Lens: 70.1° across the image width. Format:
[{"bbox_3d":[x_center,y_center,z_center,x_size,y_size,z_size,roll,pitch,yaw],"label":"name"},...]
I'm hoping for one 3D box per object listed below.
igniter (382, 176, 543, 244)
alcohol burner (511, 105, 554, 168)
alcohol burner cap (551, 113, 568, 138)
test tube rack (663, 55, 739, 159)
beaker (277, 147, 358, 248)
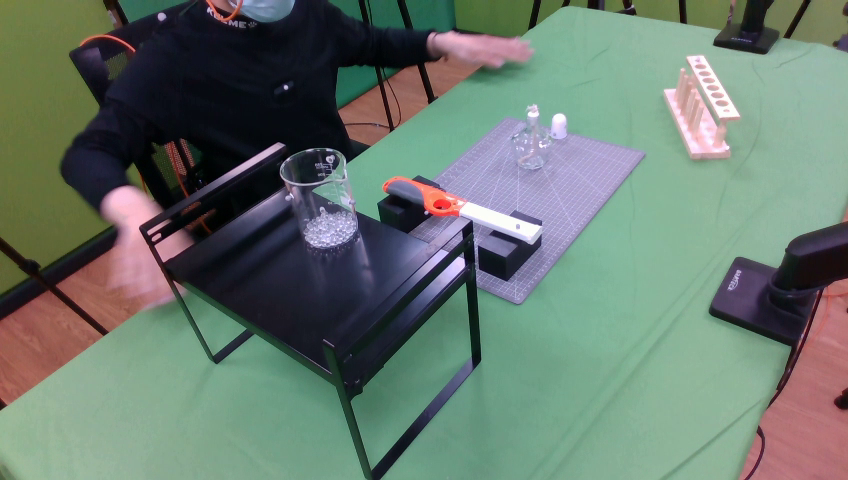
[{"bbox_3d":[0.052,-0.052,0.941,0.274,0.025,0.057,22,47,27],"label":"igniter"},{"bbox_3d":[0.196,-0.190,1.088,0.078,0.119,0.077,-3,42,3],"label":"alcohol burner"},{"bbox_3d":[0.263,-0.223,1.172,0.034,0.048,0.033,-5,39,4],"label":"alcohol burner cap"},{"bbox_3d":[0.518,-0.256,1.144,0.066,0.085,0.241,-1,41,8],"label":"test tube rack"},{"bbox_3d":[-0.117,-0.046,0.705,0.083,0.101,0.074,17,47,25],"label":"beaker"}]
